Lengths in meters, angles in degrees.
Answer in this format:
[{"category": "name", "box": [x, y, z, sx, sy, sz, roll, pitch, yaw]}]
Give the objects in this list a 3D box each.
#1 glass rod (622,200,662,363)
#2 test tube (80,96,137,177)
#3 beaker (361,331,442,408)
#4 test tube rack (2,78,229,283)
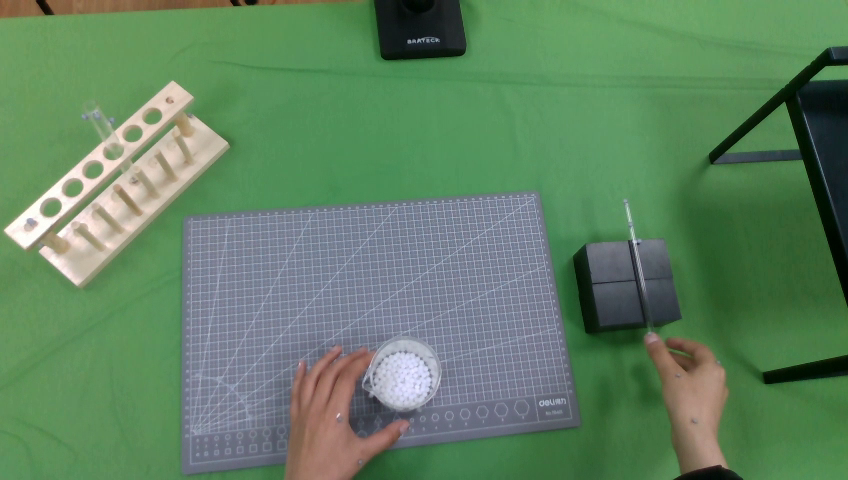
[{"category": "glass rod", "box": [0.257, 0.045, 0.716, 0.008, 0.008, 0.198, -5, 73, -7]}, {"category": "test tube", "box": [-0.343, -0.110, 0.667, 0.017, 0.151, 0.017, 3, 68, -7]}, {"category": "beaker", "box": [-0.027, 0.146, 0.660, 0.084, 0.101, 0.073, -15, 74, -10]}, {"category": "test tube rack", "box": [-0.347, -0.069, 0.706, 0.066, 0.085, 0.242, 38, 73, 8]}]
